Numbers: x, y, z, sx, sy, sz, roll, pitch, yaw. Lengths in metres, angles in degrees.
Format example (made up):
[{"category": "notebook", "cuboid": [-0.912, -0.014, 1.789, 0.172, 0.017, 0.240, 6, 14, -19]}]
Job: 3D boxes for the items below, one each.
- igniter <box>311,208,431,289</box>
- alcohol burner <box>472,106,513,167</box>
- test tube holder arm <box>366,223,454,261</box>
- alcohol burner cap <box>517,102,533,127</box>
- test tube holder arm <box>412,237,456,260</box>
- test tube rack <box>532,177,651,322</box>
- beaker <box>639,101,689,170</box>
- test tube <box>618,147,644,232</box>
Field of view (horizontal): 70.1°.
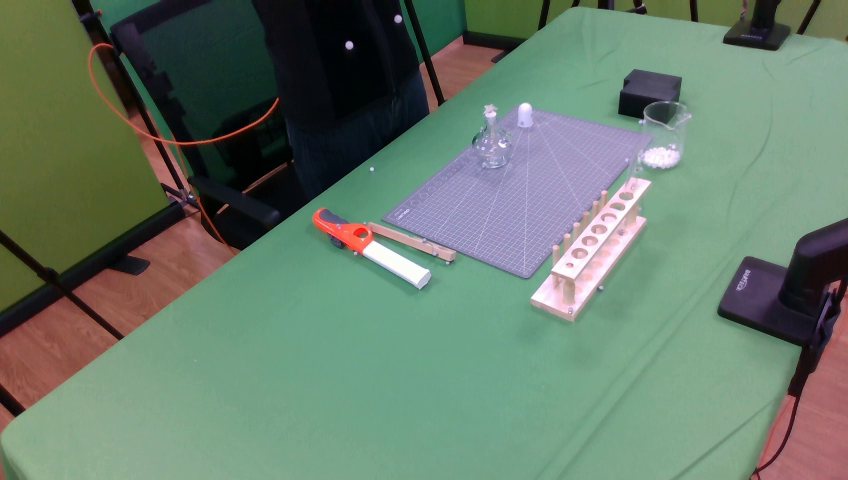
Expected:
[{"category": "igniter", "cuboid": [-0.096, 0.008, 0.985, 0.274, 0.025, 0.057, 28, 62, 36]}, {"category": "alcohol burner", "cuboid": [0.125, -0.195, 1.111, 0.078, 0.119, 0.077, -5, 42, 5]}, {"category": "test tube holder arm", "cuboid": [-0.027, 0.001, 0.986, 0.177, 0.015, 0.013, 19, 14, 30]}, {"category": "alcohol burner cap", "cuboid": [0.205, -0.255, 1.223, 0.034, 0.048, 0.033, -6, 40, 5]}, {"category": "test tube holder arm", "cuboid": [0.013, 0.013, 0.968, 0.087, 0.015, 0.010, 19, 14, 31]}, {"category": "test tube rack", "cuboid": [0.247, 0.002, 0.883, 0.066, 0.085, 0.243, 22, 49, 32]}, {"category": "beaker", "cuboid": [0.416, -0.178, 1.053, 0.074, 0.101, 0.083, -4, 41, 7]}, {"category": "test tube", "cuboid": [0.301, -0.070, 0.882, 0.017, 0.151, 0.017, -3, 43, 3]}]
